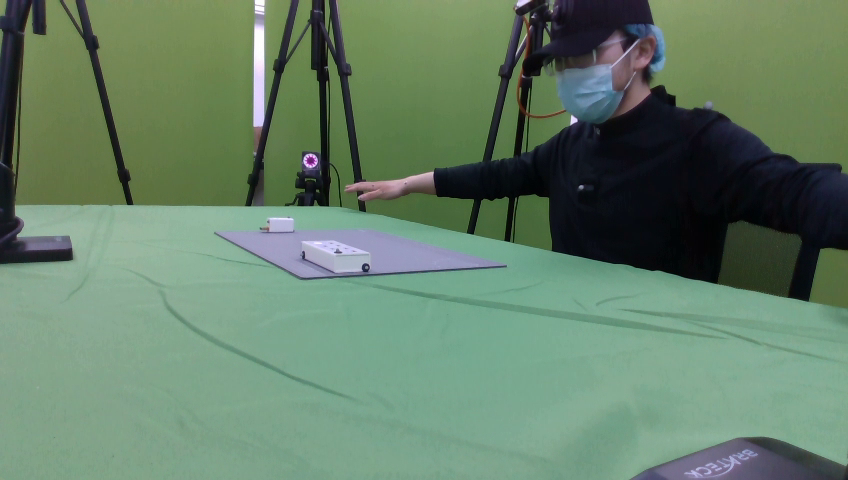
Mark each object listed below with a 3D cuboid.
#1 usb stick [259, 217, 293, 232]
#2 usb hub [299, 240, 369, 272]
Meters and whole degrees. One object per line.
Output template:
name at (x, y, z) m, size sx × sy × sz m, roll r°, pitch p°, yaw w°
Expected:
usb stick at (-0.268, -0.028, 1.094) m, size 0.059 × 0.027 × 0.021 m, roll -5°, pitch 12°, yaw -32°
usb hub at (-0.119, 0.019, 0.782) m, size 0.050 × 0.025 × 0.124 m, roll -2°, pitch 8°, yaw -31°
